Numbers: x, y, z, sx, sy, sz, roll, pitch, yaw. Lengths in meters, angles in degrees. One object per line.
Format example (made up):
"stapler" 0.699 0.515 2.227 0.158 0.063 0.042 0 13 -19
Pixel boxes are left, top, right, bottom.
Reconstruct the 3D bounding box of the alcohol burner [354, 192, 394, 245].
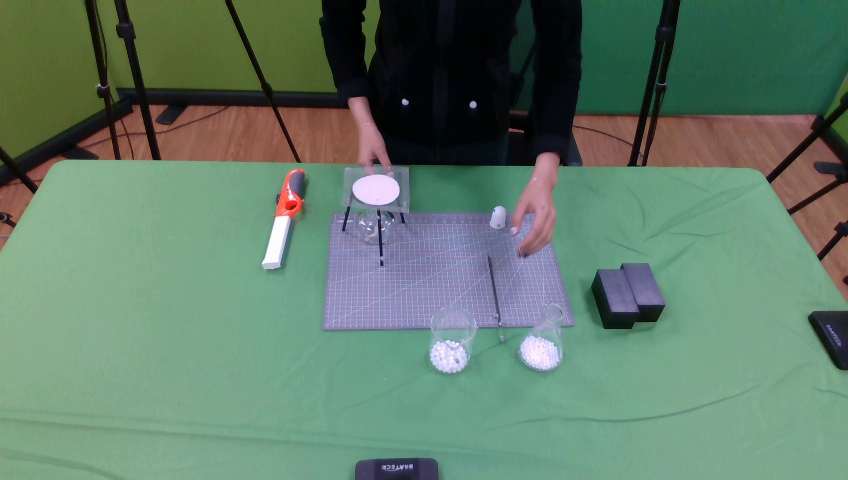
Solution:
"alcohol burner" -0.096 -0.048 1.171 0.078 0.119 0.077 4 45 -4

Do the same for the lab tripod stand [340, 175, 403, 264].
"lab tripod stand" -0.094 -0.050 1.160 0.148 0.132 0.147 2 44 -2

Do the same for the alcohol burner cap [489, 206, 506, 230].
"alcohol burner cap" 0.152 -0.047 1.241 0.034 0.048 0.033 2 45 -1

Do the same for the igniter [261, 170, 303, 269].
"igniter" -0.283 -0.050 1.222 0.057 0.025 0.275 -5 45 6

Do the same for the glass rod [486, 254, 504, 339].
"glass rod" 0.130 0.099 1.119 0.008 0.008 0.198 -1 46 -4

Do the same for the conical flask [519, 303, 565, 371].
"conical flask" 0.201 0.155 0.997 0.075 0.122 0.075 2 46 -2

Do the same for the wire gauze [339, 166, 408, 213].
"wire gauze" -0.091 -0.096 1.110 0.125 0.011 0.120 2 44 -3

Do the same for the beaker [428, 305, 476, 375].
"beaker" 0.044 0.169 0.987 0.074 0.101 0.083 1 47 -3
